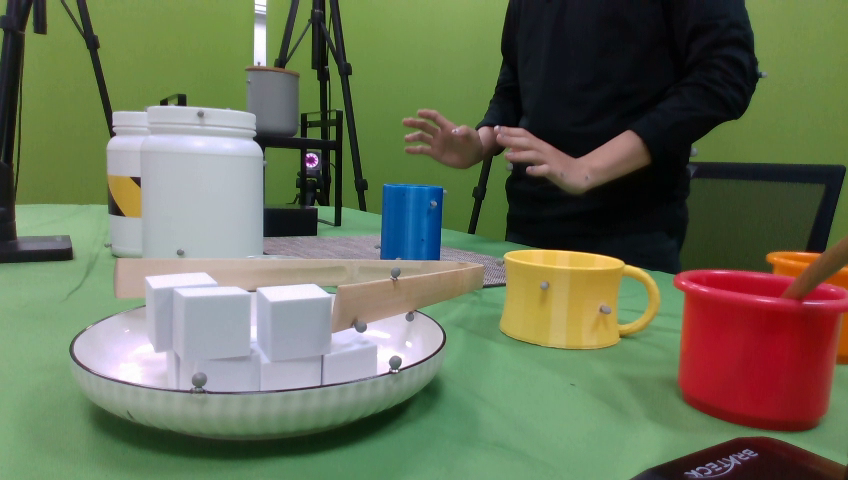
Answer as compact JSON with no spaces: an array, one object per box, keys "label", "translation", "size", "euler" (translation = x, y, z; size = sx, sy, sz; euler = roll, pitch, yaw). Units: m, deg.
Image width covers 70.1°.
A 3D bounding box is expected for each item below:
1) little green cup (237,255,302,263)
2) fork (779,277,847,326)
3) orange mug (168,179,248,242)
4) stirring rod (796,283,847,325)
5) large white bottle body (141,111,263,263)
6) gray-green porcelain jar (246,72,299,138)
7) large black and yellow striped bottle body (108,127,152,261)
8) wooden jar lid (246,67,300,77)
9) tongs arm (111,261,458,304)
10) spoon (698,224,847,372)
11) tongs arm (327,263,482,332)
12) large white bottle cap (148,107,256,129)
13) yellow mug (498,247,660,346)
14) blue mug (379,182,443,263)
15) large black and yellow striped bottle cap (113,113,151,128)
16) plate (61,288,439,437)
[{"label":"little green cup","translation":[-0.150,0.038,0.590],"size":[0.061,0.038,0.061],"euler":[3,7,0]},{"label":"fork","translation":[0.335,0.018,0.443],"size":[0.028,0.018,0.207],"euler":[-1,-36,-20]},{"label":"orange mug","translation":[-0.351,-0.050,0.986],"size":[0.126,0.101,0.083],"euler":[-3,8,-9]},{"label":"stirring rod","translation":[0.346,0.019,0.460],"size":[0.014,0.176,0.006],"euler":[-17,59,-26]},{"label":"large white bottle body","translation":[-0.254,-0.054,0.697],"size":[0.131,0.184,0.130],"euler":[2,7,0]},{"label":"gray-green porcelain jar","translation":[-0.314,-0.277,1.256],"size":[0.106,0.126,0.106],"euler":[3,8,0]},{"label":"large black and yellow striped bottle body","translation":[-0.350,-0.071,0.812],"size":[0.131,0.184,0.130],"euler":[2,7,0]},{"label":"wooden jar lid","translation":[-0.312,-0.339,1.248],"size":[0.108,0.020,0.108],"euler":[4,8,0]},{"label":"tongs arm","translation":[-0.080,0.032,0.527],"size":[0.028,0.027,0.389],"euler":[-3,-3,33]},{"label":"spoon","translation":[0.195,0.032,0.323],"size":[0.041,0.021,0.194],"euler":[1,-36,2]},{"label":"tongs arm","translation":[-0.003,0.036,0.493],"size":[0.050,0.026,0.386],"euler":[1,0,19]},{"label":"large white bottle cap","translation":[-0.250,-0.137,0.686],"size":[0.115,0.018,0.115],"euler":[2,8,0]},{"label":"yellow mug","translation":[0.130,0.045,0.508],"size":[0.131,0.064,0.100],"euler":[4,7,6]},{"label":"blue mug","translation":[-0.020,-0.026,0.833],"size":[0.082,0.106,0.116],"euler":[1,7,-7]},{"label":"large black and yellow striped bottle cap","translation":[-0.348,-0.154,0.800],"size":[0.115,0.019,0.115],"euler":[2,6,0]},{"label":"plate","translation":[-0.095,0.069,0.362],"size":[0.208,0.039,0.207],"euler":[3,7,0]}]
